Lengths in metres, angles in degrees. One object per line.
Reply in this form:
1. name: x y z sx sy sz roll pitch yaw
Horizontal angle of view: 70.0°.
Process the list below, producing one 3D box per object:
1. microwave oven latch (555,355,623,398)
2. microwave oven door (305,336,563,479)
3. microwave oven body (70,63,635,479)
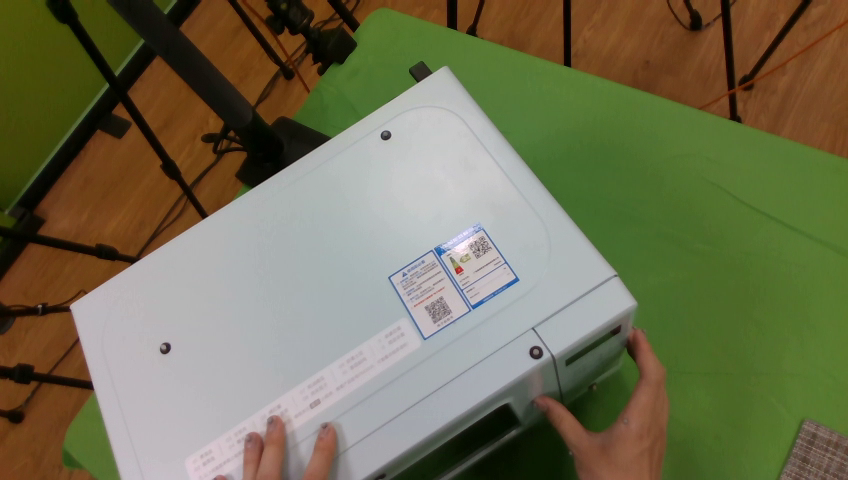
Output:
1. microwave oven latch: 0.179 0.141 0.664 0.079 0.030 0.030 -31 64 1
2. microwave oven door: -0.030 0.219 0.569 0.356 0.246 0.039 -33 62 -1
3. microwave oven body: -0.066 0.091 0.640 0.442 0.262 0.323 -33 64 -1
